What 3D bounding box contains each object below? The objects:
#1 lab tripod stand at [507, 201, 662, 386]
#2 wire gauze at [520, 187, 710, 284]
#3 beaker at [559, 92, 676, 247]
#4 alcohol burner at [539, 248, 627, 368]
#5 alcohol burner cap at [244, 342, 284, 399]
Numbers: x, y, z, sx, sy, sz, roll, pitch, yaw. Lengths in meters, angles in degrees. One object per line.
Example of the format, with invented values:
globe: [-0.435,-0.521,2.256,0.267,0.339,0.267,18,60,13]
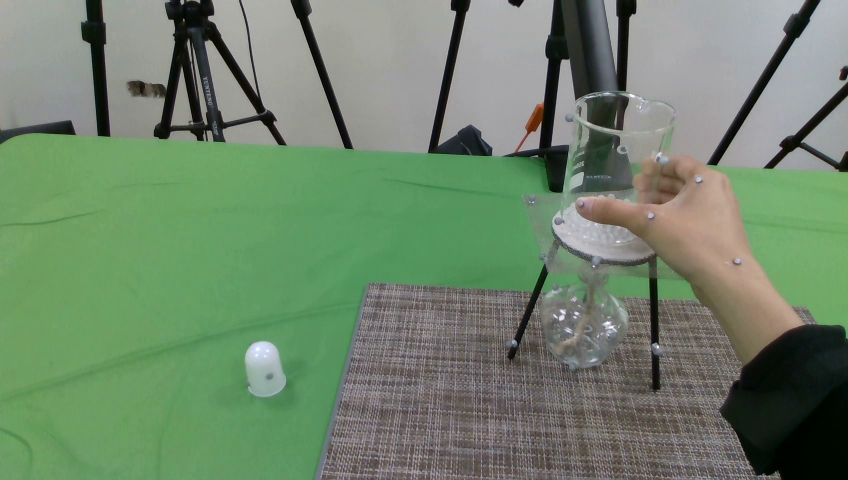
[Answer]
lab tripod stand: [0.150,0.045,0.529,0.148,0.132,0.147,2,35,-1]
wire gauze: [0.147,-0.008,0.486,0.125,0.011,0.120,0,37,-2]
beaker: [0.144,-0.053,0.464,0.073,0.101,0.084,24,43,30]
alcohol burner: [0.142,0.054,0.532,0.078,0.120,0.077,2,37,-1]
alcohol burner cap: [-0.138,0.109,0.517,0.034,0.048,0.033,1,35,0]
